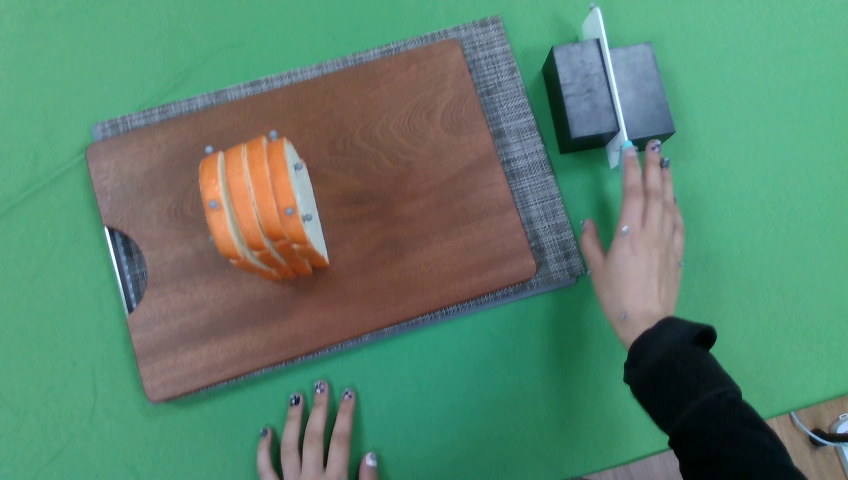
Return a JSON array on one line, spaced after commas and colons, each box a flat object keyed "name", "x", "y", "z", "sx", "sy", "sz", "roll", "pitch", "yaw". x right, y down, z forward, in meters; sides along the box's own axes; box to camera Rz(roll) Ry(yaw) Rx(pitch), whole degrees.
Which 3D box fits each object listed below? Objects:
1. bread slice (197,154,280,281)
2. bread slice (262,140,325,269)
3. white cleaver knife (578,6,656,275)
[{"name": "bread slice", "x": -0.166, "y": -0.020, "z": 0.544, "sx": 0.019, "sy": 0.132, "sz": 0.104, "roll": -16, "pitch": 80, "yaw": 1}, {"name": "bread slice", "x": -0.117, "y": -0.029, "z": 0.545, "sx": 0.018, "sy": 0.134, "sz": 0.106, "roll": -16, "pitch": 85, "yaw": -4}, {"name": "white cleaver knife", "x": 0.198, "y": -0.104, "z": 0.630, "sx": 0.021, "sy": 0.066, "sz": 0.285, "roll": -10, "pitch": 82, "yaw": 4}]
